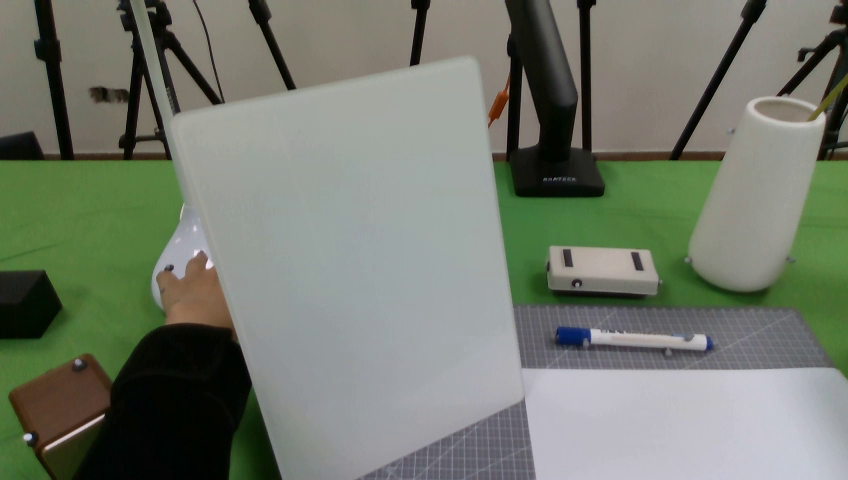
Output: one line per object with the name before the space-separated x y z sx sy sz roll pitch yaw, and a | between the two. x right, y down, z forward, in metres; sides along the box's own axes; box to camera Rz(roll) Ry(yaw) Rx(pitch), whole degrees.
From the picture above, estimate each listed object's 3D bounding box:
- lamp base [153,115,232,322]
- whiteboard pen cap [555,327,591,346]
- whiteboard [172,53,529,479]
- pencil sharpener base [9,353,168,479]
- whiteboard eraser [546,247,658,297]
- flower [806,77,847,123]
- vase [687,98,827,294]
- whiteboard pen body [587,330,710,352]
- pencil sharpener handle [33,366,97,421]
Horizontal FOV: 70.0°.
lamp base | -0.228 -0.032 0.641 0.177 0.182 0.160 27 45 36
whiteboard pen cap | 0.147 0.096 0.594 0.033 0.018 0.018 5 37 3
whiteboard | -0.057 0.021 0.507 0.218 0.307 0.142 -18 20 -21
pencil sharpener base | -0.250 0.150 0.456 0.061 0.108 0.076 -31 45 -33
whiteboard eraser | 0.191 0.036 0.658 0.112 0.042 0.055 1 34 4
flower | 0.352 -0.098 0.565 0.044 0.364 0.038 -14 55 -27
vase | 0.344 -0.040 0.626 0.098 0.202 0.097 0 37 0
whiteboard pen body | 0.206 0.098 0.590 0.140 0.017 0.017 2 36 5
pencil sharpener handle | -0.284 0.118 0.479 0.036 0.068 0.030 -37 48 -27
